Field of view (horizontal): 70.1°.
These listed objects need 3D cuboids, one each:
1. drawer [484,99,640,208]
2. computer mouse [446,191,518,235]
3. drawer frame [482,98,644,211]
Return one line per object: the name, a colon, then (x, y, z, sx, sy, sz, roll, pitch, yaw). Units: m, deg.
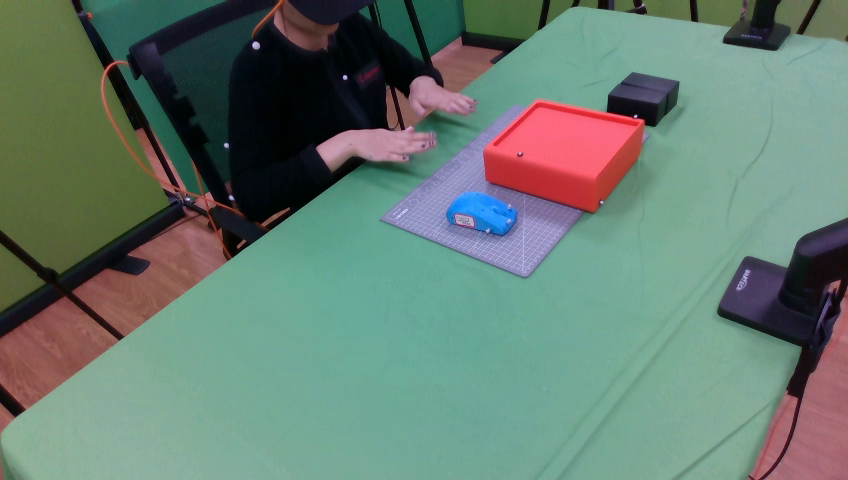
drawer: (0.244, -0.158, 1.073, 0.210, 0.073, 0.195, 22, 48, 31)
computer mouse: (0.097, -0.048, 1.004, 0.116, 0.041, 0.063, 18, 45, 23)
drawer frame: (0.246, -0.158, 1.071, 0.212, 0.083, 0.202, 21, 48, 30)
